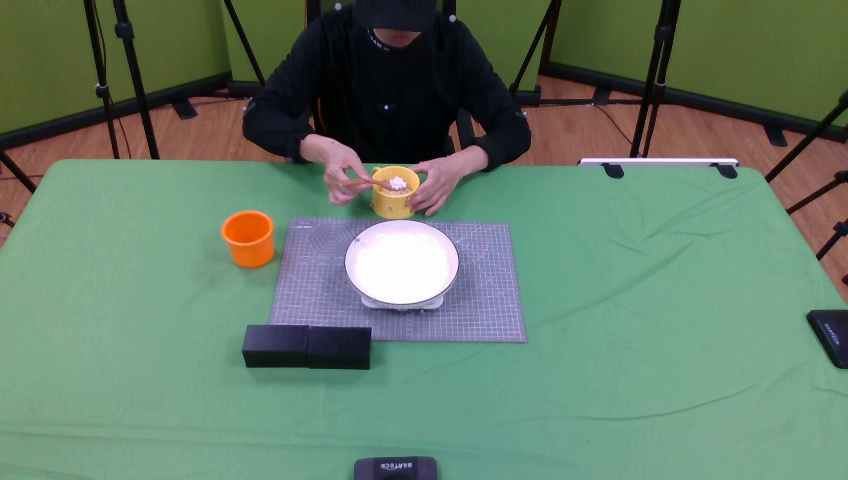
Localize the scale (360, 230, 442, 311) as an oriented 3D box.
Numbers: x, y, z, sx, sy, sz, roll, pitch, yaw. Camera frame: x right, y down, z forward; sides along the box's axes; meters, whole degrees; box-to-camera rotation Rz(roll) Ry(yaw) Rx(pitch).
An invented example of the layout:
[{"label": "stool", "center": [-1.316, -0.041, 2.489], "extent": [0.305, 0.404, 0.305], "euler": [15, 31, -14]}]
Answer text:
[{"label": "scale", "center": [-0.042, 0.047, 1.138], "extent": [0.149, 0.032, 0.199], "euler": [2, 46, -3]}]

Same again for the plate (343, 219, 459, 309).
[{"label": "plate", "center": [-0.041, 0.046, 1.094], "extent": [0.209, 0.038, 0.208], "euler": [2, 46, -2]}]

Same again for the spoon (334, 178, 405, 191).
[{"label": "spoon", "center": [-0.105, -0.112, 1.180], "extent": [0.041, 0.021, 0.194], "euler": [41, 23, 28]}]

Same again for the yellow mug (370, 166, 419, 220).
[{"label": "yellow mug", "center": [-0.073, -0.108, 1.268], "extent": [0.100, 0.064, 0.130], "euler": [-29, 54, -30]}]
